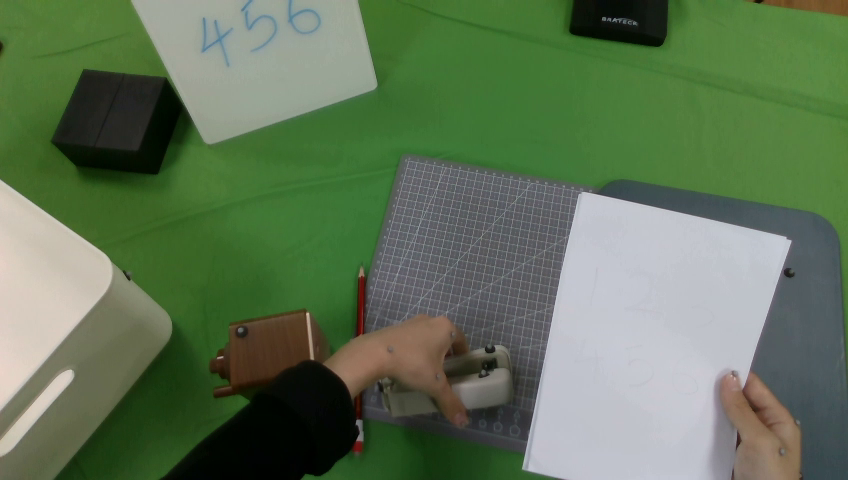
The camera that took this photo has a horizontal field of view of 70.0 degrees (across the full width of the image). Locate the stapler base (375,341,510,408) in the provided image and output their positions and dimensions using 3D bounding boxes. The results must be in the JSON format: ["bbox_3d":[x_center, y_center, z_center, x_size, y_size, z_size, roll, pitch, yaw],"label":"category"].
[{"bbox_3d":[0.020,0.131,0.578,0.131,0.024,0.041,-13,99,-4],"label":"stapler base"}]

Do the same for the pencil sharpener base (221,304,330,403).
[{"bbox_3d":[-0.134,0.108,0.558,0.077,0.108,0.061,-10,67,-3],"label":"pencil sharpener base"}]

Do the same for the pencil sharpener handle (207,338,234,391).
[{"bbox_3d":[-0.184,0.116,0.542,0.031,0.068,0.035,-10,50,-3],"label":"pencil sharpener handle"}]

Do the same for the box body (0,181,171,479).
[{"bbox_3d":[-0.456,0.060,0.552,0.362,0.161,0.253,30,70,13],"label":"box body"}]

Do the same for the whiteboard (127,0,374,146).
[{"bbox_3d":[-0.205,-0.295,0.659,0.217,0.308,0.142,-21,48,-8],"label":"whiteboard"}]

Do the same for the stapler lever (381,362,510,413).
[{"bbox_3d":[0.021,0.136,0.553,0.118,0.040,0.027,-13,99,-3],"label":"stapler lever"}]

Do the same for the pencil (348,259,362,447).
[{"bbox_3d":[-0.068,0.108,0.610,0.012,0.012,0.192,-1,66,0],"label":"pencil"}]

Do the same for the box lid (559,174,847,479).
[{"bbox_3d":[0.284,0.108,0.607,0.263,0.015,0.369,11,67,4],"label":"box lid"}]
